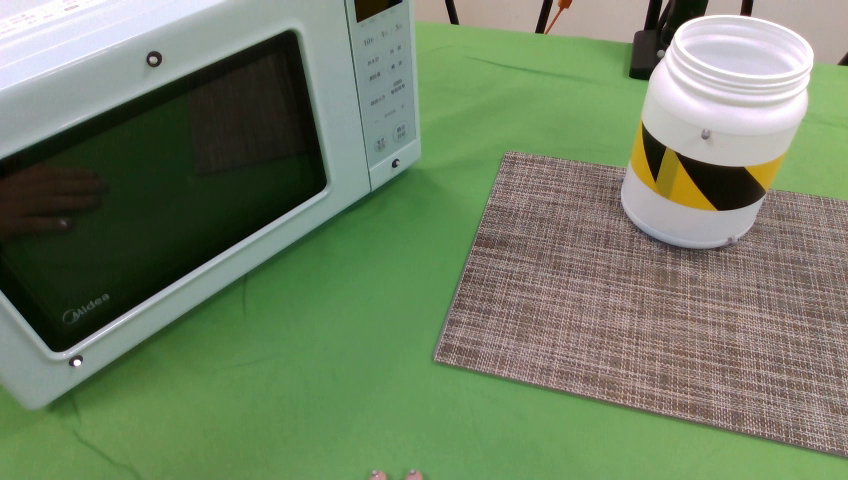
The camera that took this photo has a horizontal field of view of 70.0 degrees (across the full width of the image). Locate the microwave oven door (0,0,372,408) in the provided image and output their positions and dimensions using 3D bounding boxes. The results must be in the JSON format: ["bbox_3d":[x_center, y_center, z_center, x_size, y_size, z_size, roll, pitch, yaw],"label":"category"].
[{"bbox_3d":[-0.195,-0.051,0.476,0.039,0.246,0.355,34,56,31],"label":"microwave oven door"}]

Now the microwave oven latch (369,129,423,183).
[{"bbox_3d":[-0.036,-0.095,0.654,0.079,0.030,0.030,-36,55,-27],"label":"microwave oven latch"}]

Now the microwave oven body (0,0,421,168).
[{"bbox_3d":[-0.270,-0.139,0.572,0.323,0.262,0.441,34,57,30],"label":"microwave oven body"}]

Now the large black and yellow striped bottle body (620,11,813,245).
[{"bbox_3d":[0.264,-0.100,0.561,0.131,0.186,0.129,-1,46,2],"label":"large black and yellow striped bottle body"}]
